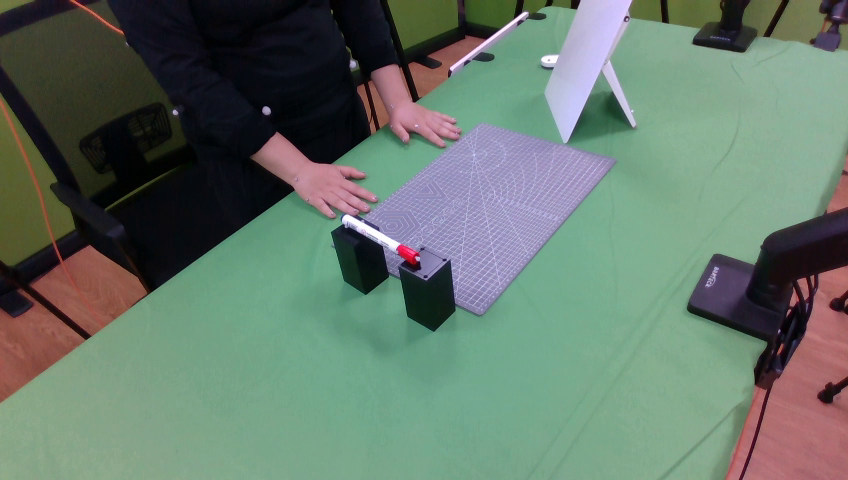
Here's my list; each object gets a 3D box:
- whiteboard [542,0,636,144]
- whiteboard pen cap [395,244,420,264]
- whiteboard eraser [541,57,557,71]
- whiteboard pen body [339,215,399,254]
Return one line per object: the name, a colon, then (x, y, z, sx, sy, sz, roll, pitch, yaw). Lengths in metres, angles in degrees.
whiteboard: (0.366, -0.351, 1.160, 0.144, 0.305, 0.216, 10, 39, -10)
whiteboard pen cap: (-0.023, 0.018, 0.800, 0.032, 0.017, 0.017, 29, 52, 36)
whiteboard eraser: (0.323, -0.412, 1.407, 0.101, 0.019, 0.041, 1, 42, 11)
whiteboard pen body: (-0.067, -0.004, 0.835, 0.139, 0.017, 0.017, 28, 51, 33)
